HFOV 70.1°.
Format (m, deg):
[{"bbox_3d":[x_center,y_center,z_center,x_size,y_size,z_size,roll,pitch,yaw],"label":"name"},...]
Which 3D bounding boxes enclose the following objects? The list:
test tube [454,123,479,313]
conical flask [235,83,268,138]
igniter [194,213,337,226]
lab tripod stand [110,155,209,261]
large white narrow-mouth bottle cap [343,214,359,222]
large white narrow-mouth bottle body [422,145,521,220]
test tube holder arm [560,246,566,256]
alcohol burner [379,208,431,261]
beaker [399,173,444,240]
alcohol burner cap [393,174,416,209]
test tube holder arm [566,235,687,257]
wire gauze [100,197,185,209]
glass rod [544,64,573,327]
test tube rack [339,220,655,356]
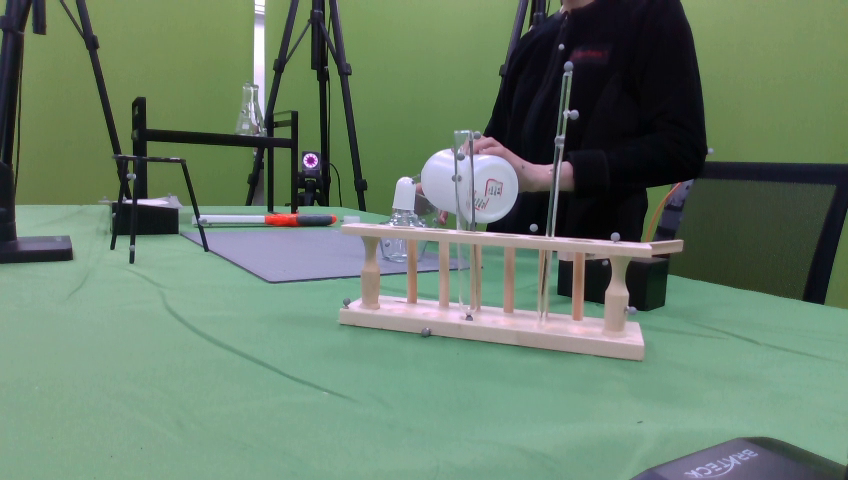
[{"bbox_3d":[0.034,-0.016,0.477,0.017,0.150,0.017,-2,9,1],"label":"test tube"},{"bbox_3d":[-0.402,-0.299,1.406,0.075,0.122,0.075,2,7,0],"label":"conical flask"},{"bbox_3d":[-0.306,-0.041,1.197,0.278,0.025,0.057,-2,-2,-30],"label":"igniter"},{"bbox_3d":[-0.361,-0.046,0.806,0.148,0.131,0.148,2,5,0],"label":"lab tripod stand"},{"bbox_3d":[-0.155,-0.043,1.282,0.038,0.024,0.037,2,8,0],"label":"large white narrow-mouth bottle cap"},{"bbox_3d":[0.055,-0.095,0.927,0.102,0.101,0.193,-2,14,-29],"label":"large white narrow-mouth bottle body"},{"bbox_3d":[0.173,0.007,0.612,0.088,0.015,0.010,-3,9,-29],"label":"test tube holder arm"},{"bbox_3d":[-0.027,-0.031,0.838,0.078,0.119,0.078,0,6,0],"label":"alcohol burner"},{"bbox_3d":[0.000,-0.055,1.061,0.074,0.100,0.083,-5,40,-30],"label":"beaker"},{"bbox_3d":[-0.025,-0.067,0.834,0.034,0.048,0.034,8,7,-1],"label":"alcohol burner cap"},{"bbox_3d":[0.215,0.006,0.630,0.179,0.015,0.013,-3,9,-31],"label":"test tube holder arm"},{"bbox_3d":[-0.469,-0.062,1.008,0.126,0.011,0.121,-2,8,-25],"label":"wire gauze"},{"bbox_3d":[0.101,-0.028,0.453,0.008,0.199,0.008,1,14,0],"label":"glass rod"},{"bbox_3d":[0.056,0.032,0.495,0.242,0.085,0.067,4,7,15],"label":"test tube rack"}]
